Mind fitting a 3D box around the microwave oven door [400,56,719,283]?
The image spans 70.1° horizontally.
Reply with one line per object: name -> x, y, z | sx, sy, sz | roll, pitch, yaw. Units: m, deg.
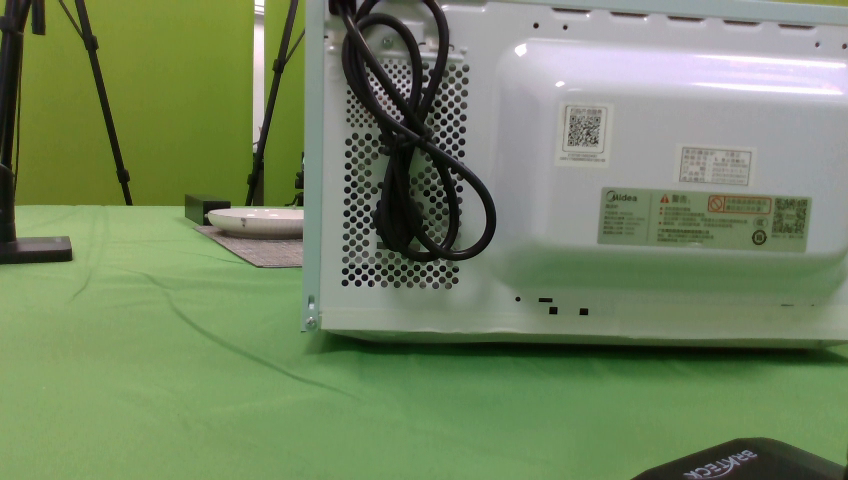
microwave oven door -> 0.155, -0.077, 0.698 | 0.356, 0.243, 0.039 | 2, 8, -5

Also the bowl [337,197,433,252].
bowl -> -0.062, -0.025, 0.955 | 0.151, 0.077, 0.151 | 3, 8, 0

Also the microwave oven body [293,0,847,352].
microwave oven body -> 0.122, -0.055, 0.550 | 0.442, 0.260, 0.325 | 3, 7, -5

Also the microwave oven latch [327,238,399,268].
microwave oven latch -> -0.069, 0.015, 0.694 | 0.079, 0.029, 0.030 | 3, 7, -3

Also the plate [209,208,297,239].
plate -> -0.271, -0.029, 1.074 | 0.208, 0.039, 0.207 | 3, 7, 0
